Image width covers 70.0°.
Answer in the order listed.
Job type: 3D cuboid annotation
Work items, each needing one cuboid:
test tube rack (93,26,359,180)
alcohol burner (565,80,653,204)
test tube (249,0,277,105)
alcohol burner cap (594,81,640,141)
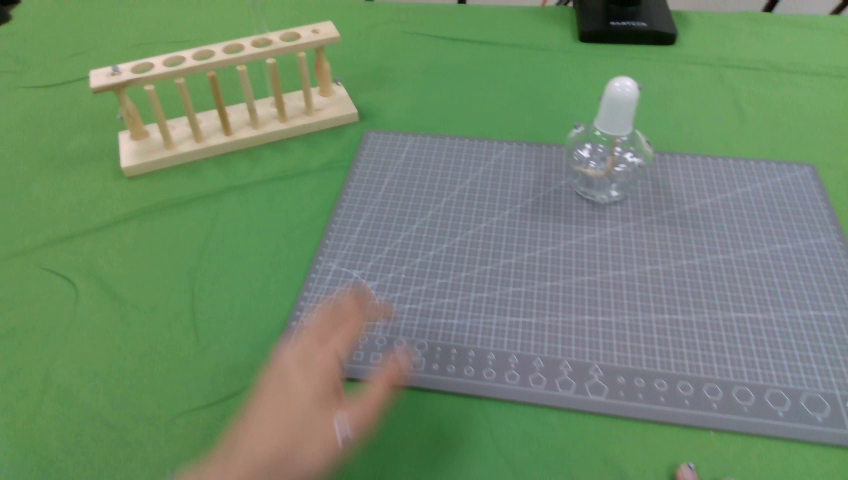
[{"bbox_3d":[-0.196,-0.144,0.625,0.243,0.086,0.066,-17,48,-14],"label":"test tube rack"},{"bbox_3d":[0.167,-0.089,0.535,0.078,0.120,0.077,0,47,0],"label":"alcohol burner"},{"bbox_3d":[-0.162,-0.204,0.613,0.017,0.151,0.017,0,43,0],"label":"test tube"},{"bbox_3d":[0.166,-0.112,0.514,0.034,0.048,0.033,1,46,-1],"label":"alcohol burner cap"}]
